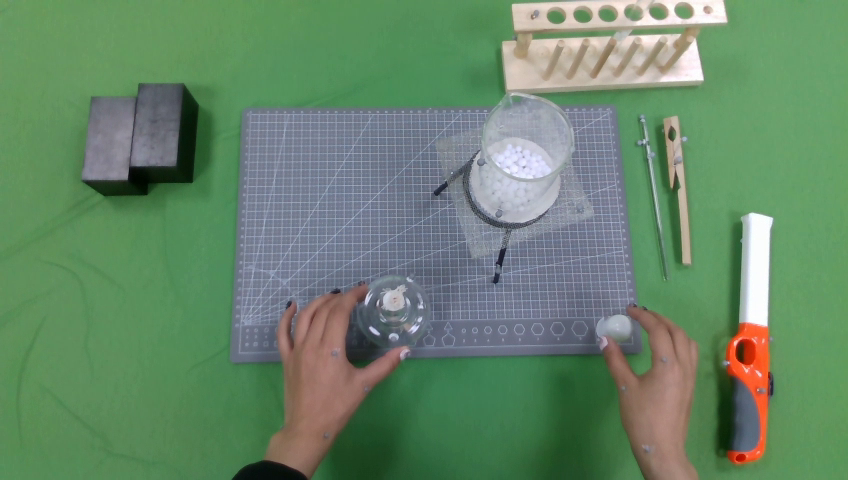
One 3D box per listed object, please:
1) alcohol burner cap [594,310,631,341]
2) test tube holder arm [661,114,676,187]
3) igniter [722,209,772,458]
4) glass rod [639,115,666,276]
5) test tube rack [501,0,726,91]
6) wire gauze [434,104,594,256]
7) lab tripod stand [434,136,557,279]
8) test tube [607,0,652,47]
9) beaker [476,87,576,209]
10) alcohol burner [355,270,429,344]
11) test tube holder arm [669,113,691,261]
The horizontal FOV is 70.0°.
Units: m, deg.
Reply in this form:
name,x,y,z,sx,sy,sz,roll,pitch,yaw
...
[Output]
name,x,y,z,sx,sy,sz,roll,pitch,yaw
alcohol burner cap,0.207,0.090,0.655,0.034,0.048,0.033,1,75,-2
test tube holder arm,0.293,-0.107,0.723,0.010,0.015,0.087,-9,75,30
igniter,0.358,0.100,0.670,0.057,0.025,0.275,12,76,-9
glass rod,0.268,-0.056,0.713,0.008,0.008,0.198,-2,76,-3
test tube rack,0.219,-0.232,0.715,0.242,0.085,0.066,-3,76,-2
wire gauze,0.083,-0.060,0.573,0.121,0.011,0.124,-17,79,-3
lab tripod stand,0.076,-0.042,0.637,0.148,0.132,0.147,0,77,0
test tube,0.239,-0.260,0.672,0.017,0.150,0.017,2,75,-7
beaker,0.082,-0.075,0.528,0.074,0.101,0.083,-16,76,-3
alcohol burner,-0.033,0.065,0.617,0.078,0.119,0.077,1,74,-2
test tube holder arm,0.299,-0.063,0.710,0.013,0.015,0.177,-9,75,30
